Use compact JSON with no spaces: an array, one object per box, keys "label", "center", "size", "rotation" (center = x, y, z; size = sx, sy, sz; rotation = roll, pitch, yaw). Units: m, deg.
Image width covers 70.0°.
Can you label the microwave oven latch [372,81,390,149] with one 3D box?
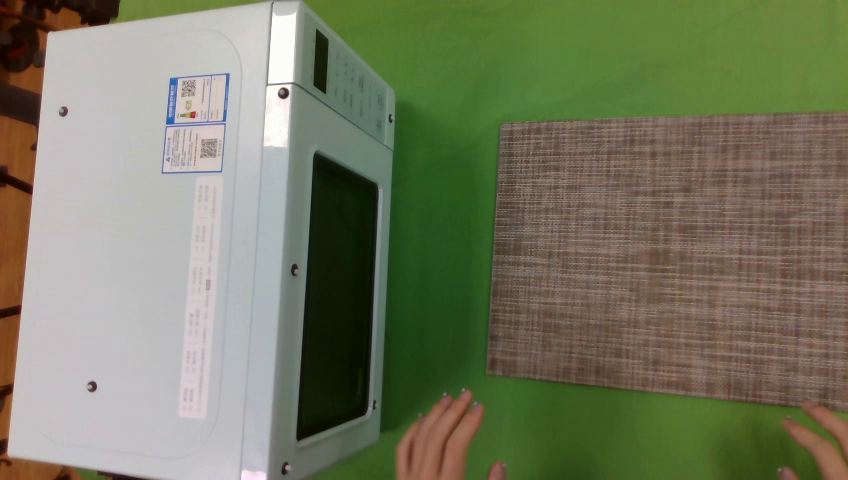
[{"label":"microwave oven latch","center":[-0.058,-0.153,0.747],"size":[0.030,0.029,0.079],"rotation":[1,85,18]}]

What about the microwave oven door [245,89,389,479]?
[{"label":"microwave oven door","center":[-0.100,0.053,0.632],"size":[0.039,0.245,0.355],"rotation":[0,84,19]}]

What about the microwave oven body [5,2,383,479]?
[{"label":"microwave oven body","center":[-0.236,0.012,0.686],"size":[0.325,0.261,0.440],"rotation":[0,85,18]}]
